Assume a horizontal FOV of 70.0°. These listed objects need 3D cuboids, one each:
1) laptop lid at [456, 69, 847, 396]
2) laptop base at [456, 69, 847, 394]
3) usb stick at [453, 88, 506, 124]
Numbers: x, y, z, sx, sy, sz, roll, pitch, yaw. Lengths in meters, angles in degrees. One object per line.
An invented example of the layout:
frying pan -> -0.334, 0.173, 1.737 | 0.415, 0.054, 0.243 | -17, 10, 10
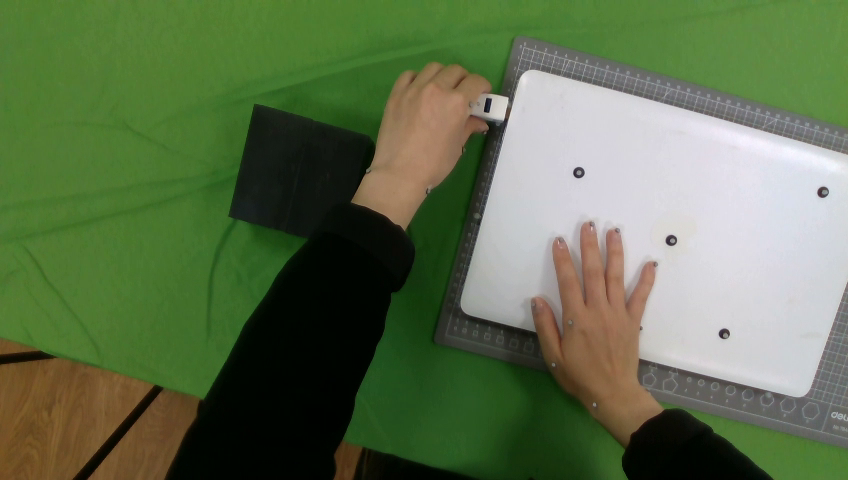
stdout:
laptop lid -> 0.226, 0.000, 0.567 | 0.357, 0.013, 0.242 | 16, 97, -3
laptop base -> 0.226, -0.003, 0.578 | 0.355, 0.023, 0.236 | 14, 98, -3
usb stick -> 0.056, -0.120, 0.550 | 0.059, 0.027, 0.021 | 12, 89, -1
